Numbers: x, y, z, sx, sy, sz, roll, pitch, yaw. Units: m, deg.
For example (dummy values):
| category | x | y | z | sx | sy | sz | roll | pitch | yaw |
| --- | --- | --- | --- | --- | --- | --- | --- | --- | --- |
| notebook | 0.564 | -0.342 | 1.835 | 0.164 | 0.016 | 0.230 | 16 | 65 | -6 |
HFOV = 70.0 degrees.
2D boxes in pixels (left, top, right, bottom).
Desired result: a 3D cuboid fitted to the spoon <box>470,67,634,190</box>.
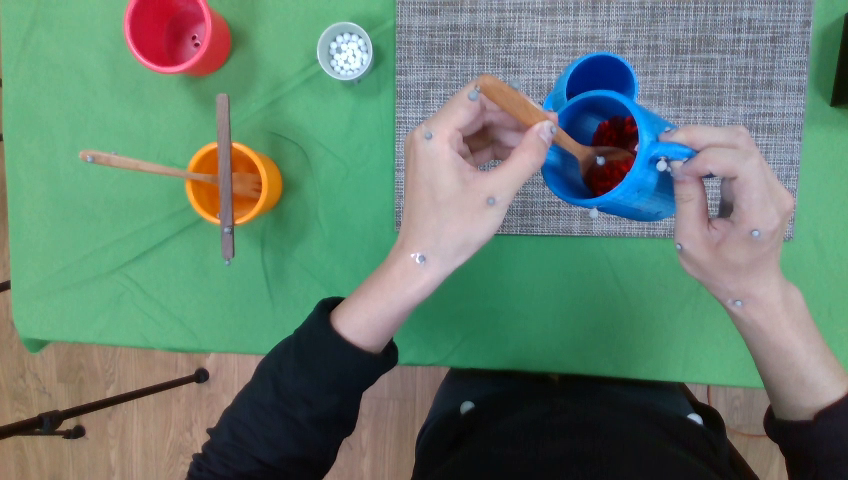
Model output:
| category | x | y | z | sx | sy | sz | roll | pitch | yaw |
| --- | --- | --- | --- | --- | --- | --- | --- | --- | --- |
| spoon | 0.096 | -0.073 | 0.417 | 0.041 | 0.195 | 0.021 | -44 | 53 | 24 |

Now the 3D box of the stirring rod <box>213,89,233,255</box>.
| category | x | y | z | sx | sy | sz | roll | pitch | yaw |
| --- | --- | --- | --- | --- | --- | --- | --- | --- | --- |
| stirring rod | -0.215 | -0.071 | 0.647 | 0.014 | 0.006 | 0.176 | 1 | 98 | 6 |

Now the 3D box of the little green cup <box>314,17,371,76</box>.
| category | x | y | z | sx | sy | sz | roll | pitch | yaw |
| --- | --- | --- | --- | --- | --- | --- | --- | --- | --- |
| little green cup | -0.089 | -0.213 | 0.677 | 0.061 | 0.038 | 0.061 | 1 | 98 | 5 |

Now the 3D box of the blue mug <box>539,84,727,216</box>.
| category | x | y | z | sx | sy | sz | roll | pitch | yaw |
| --- | --- | --- | --- | --- | --- | --- | --- | --- | --- |
| blue mug | 0.162 | -0.063 | 0.452 | 0.115 | 0.106 | 0.082 | 9 | 92 | 42 |

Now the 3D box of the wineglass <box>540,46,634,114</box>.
| category | x | y | z | sx | sy | sz | roll | pitch | yaw |
| --- | --- | --- | --- | --- | --- | --- | --- | --- | --- |
| wineglass | 0.153 | -0.141 | 0.594 | 0.073 | 0.172 | 0.074 | 1 | 97 | 5 |

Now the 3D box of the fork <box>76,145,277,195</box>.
| category | x | y | z | sx | sy | sz | roll | pitch | yaw |
| --- | --- | --- | --- | --- | --- | --- | --- | --- | --- |
| fork | -0.257 | -0.076 | 0.653 | 0.209 | 0.018 | 0.028 | 8 | 107 | -40 |
